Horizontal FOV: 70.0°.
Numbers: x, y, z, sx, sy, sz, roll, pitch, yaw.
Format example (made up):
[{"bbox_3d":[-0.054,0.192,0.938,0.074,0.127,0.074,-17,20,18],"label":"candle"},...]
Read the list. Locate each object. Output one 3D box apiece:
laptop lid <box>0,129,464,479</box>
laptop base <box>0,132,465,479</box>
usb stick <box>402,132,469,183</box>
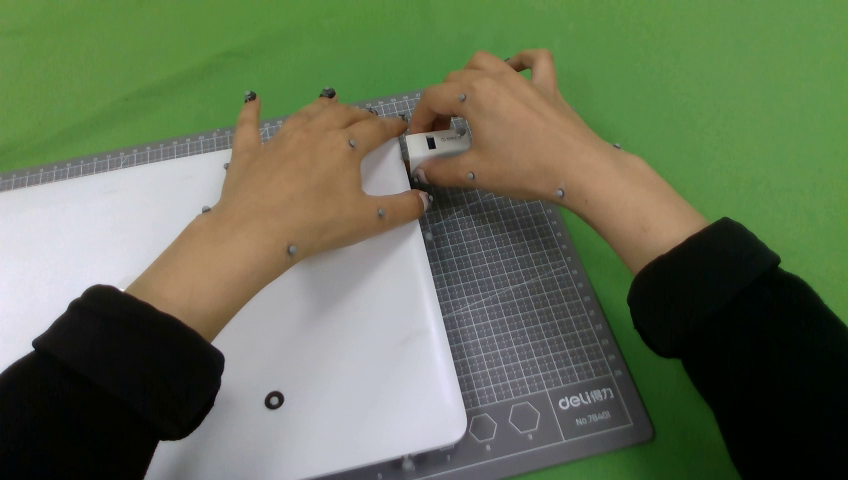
[{"bbox_3d":[-0.171,0.049,0.368,0.357,0.013,0.239,-10,60,-4],"label":"laptop lid"},{"bbox_3d":[-0.171,0.053,0.380,0.355,0.023,0.233,-11,61,-5],"label":"laptop base"},{"bbox_3d":[0.001,-0.057,0.426,0.059,0.027,0.021,-11,61,-2],"label":"usb stick"}]
